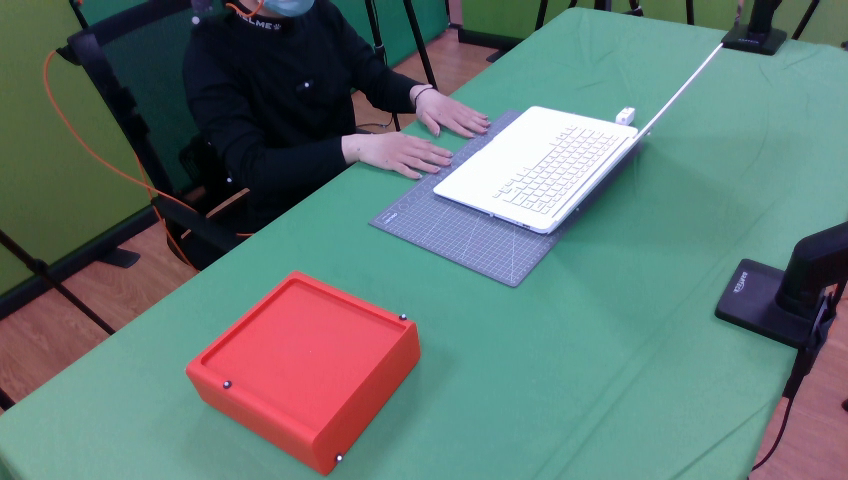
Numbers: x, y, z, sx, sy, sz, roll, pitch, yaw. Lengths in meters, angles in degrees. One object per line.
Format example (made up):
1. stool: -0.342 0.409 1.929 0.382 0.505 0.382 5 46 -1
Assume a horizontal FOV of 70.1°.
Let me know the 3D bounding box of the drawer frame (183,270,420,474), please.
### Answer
1. drawer frame: -0.149 0.153 0.767 0.212 0.083 0.202 20 46 27

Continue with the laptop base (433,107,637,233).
1. laptop base: 0.210 -0.142 1.111 0.233 0.023 0.355 21 48 33

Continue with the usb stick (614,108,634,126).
1. usb stick: 0.385 -0.233 1.174 0.021 0.027 0.059 22 47 30

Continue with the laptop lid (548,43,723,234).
1. laptop lid: 0.335 -0.160 0.955 0.013 0.241 0.358 42 54 8

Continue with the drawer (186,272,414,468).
1. drawer: -0.150 0.153 0.768 0.210 0.073 0.195 20 46 28
